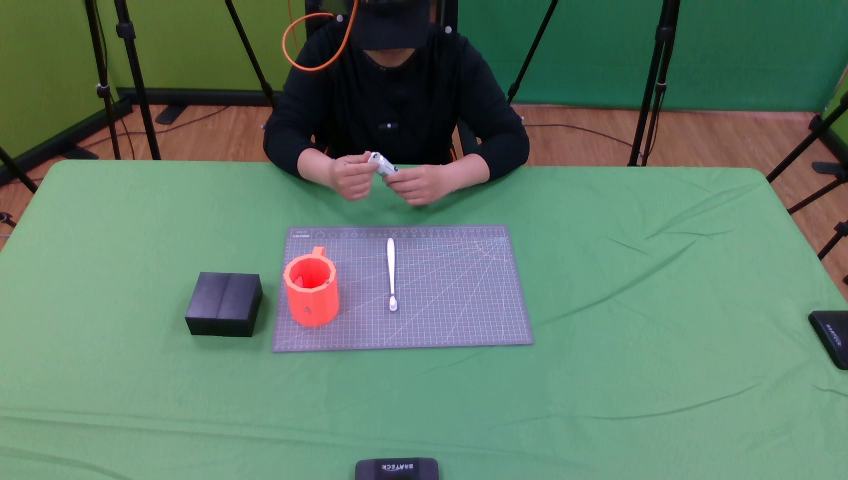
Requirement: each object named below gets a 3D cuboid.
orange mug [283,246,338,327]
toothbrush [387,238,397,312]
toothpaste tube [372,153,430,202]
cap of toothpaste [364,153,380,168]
[{"bbox_3d":[-0.192,0.074,1.056,0.083,0.101,0.125,5,50,1],"label":"orange mug"},{"bbox_3d":[-0.061,0.059,1.136,0.014,0.017,0.180,-9,45,4],"label":"toothbrush"},{"bbox_3d":[-0.053,-0.123,1.227,0.055,0.166,0.034,23,78,52],"label":"toothpaste tube"},{"bbox_3d":[-0.100,-0.153,1.157,0.037,0.037,0.011,-28,66,-27],"label":"cap of toothpaste"}]
